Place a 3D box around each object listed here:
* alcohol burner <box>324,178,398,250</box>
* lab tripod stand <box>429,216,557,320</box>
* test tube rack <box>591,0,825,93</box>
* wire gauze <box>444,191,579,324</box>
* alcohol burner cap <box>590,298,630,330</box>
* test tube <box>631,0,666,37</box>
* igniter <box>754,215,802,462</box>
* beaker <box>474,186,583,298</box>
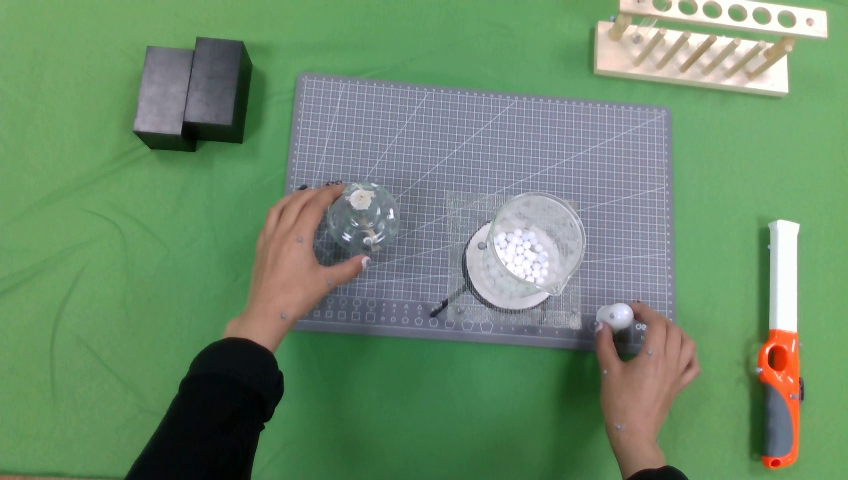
[{"bbox_3d":[-0.065,-0.032,0.627,0.078,0.119,0.077,1,75,-4],"label":"alcohol burner"},{"bbox_3d":[0.072,0.031,0.614,0.148,0.132,0.147,1,77,-2],"label":"lab tripod stand"},{"bbox_3d":[0.331,-0.237,0.718,0.242,0.085,0.066,6,77,-3],"label":"test tube rack"},{"bbox_3d":[0.079,0.014,0.551,0.125,0.011,0.121,2,76,-1],"label":"wire gauze"},{"bbox_3d":[0.206,0.080,0.663,0.034,0.048,0.033,2,77,-9],"label":"alcohol burner cap"},{"bbox_3d":[0.264,-0.274,0.670,0.017,0.151,0.017,1,73,-4],"label":"test tube"},{"bbox_3d":[0.398,0.107,0.681,0.057,0.025,0.275,11,78,-12],"label":"igniter"},{"bbox_3d":[0.083,0.010,0.503,0.074,0.100,0.083,-18,78,-7],"label":"beaker"}]
